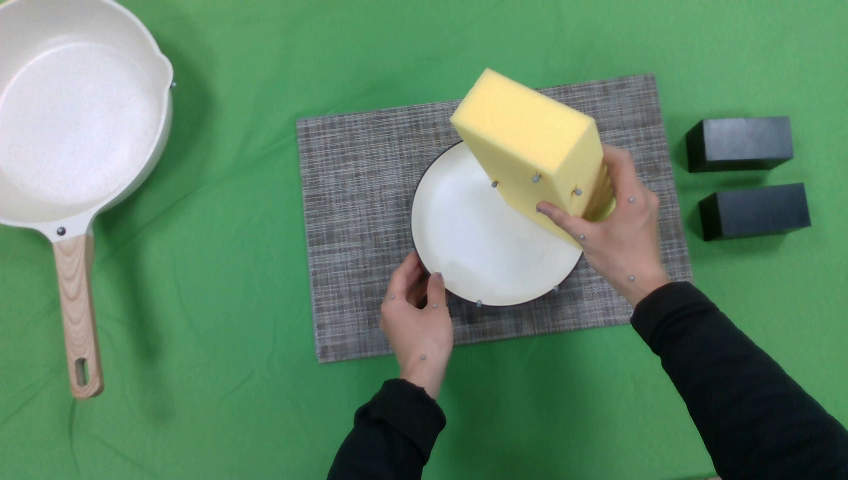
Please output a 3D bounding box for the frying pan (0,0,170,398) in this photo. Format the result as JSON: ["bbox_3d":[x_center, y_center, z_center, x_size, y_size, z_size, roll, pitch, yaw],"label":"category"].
[{"bbox_3d":[-0.417,-0.057,0.705,0.307,0.103,0.484,-15,73,1],"label":"frying pan"}]

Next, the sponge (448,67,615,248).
[{"bbox_3d":[0.118,-0.075,0.615,0.117,0.209,0.061,33,86,30],"label":"sponge"}]

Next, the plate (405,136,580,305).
[{"bbox_3d":[0.082,-0.025,0.714,0.207,0.039,0.207,0,82,2],"label":"plate"}]
